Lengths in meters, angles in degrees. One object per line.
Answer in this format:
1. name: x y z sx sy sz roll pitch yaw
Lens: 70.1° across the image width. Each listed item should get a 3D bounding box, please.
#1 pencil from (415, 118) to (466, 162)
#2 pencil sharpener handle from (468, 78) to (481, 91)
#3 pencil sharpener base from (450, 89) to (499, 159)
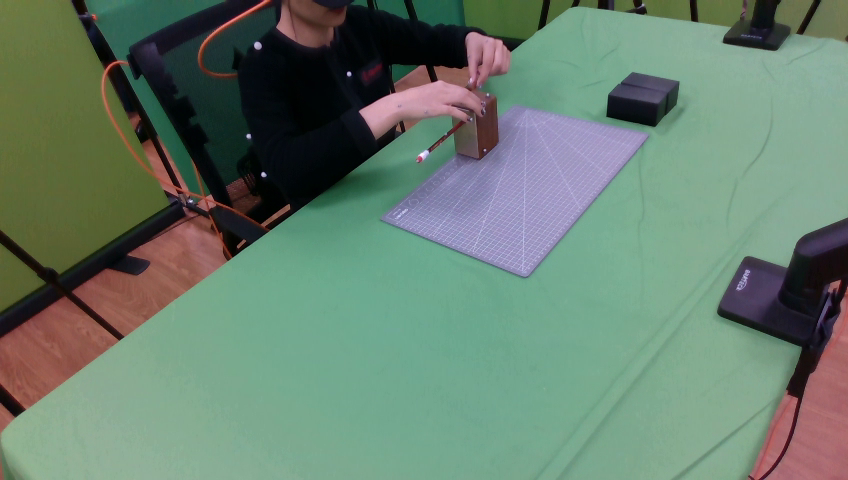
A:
1. pencil: 0.045 -0.194 1.092 0.012 0.012 0.194 22 50 32
2. pencil sharpener handle: 0.116 -0.284 1.166 0.067 0.036 0.031 44 56 3
3. pencil sharpener base: 0.100 -0.222 1.155 0.061 0.107 0.077 21 49 32
